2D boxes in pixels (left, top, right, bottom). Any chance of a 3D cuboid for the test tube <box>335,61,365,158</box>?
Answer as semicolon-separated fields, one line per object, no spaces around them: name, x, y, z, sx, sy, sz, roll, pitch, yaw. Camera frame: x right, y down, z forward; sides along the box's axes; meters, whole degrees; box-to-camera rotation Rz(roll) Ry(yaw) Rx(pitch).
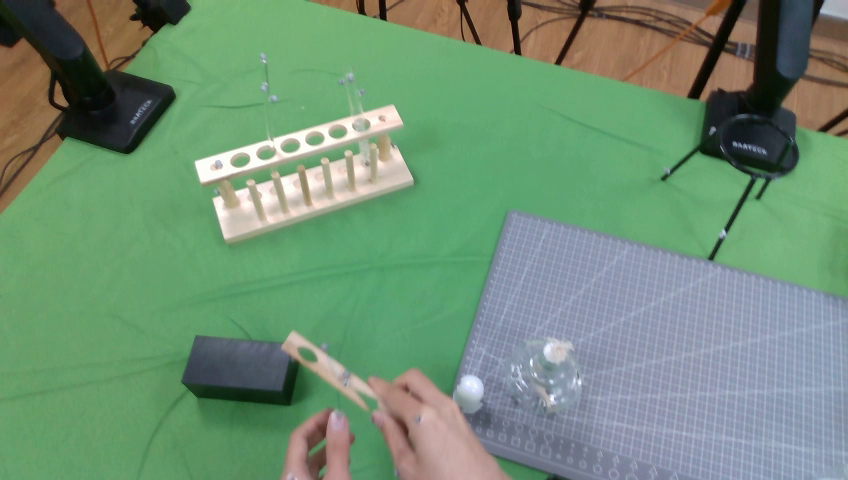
test tube;-0.085;-0.150;0.721;0.017;0.151;0.017;-2;57;3

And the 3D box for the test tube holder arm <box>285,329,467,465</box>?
test tube holder arm;-0.039;0.128;0.494;0.178;0.015;0.013;34;81;0

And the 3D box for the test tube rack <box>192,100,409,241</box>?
test tube rack;-0.143;-0.085;0.739;0.243;0.086;0.066;-20;62;-12

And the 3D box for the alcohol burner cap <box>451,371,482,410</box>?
alcohol burner cap;0.045;0.153;0.624;0.034;0.048;0.033;0;59;1

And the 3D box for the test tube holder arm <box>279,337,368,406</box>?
test tube holder arm;-0.079;0.107;0.494;0.088;0.015;0.010;34;81;0

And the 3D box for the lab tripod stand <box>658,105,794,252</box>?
lab tripod stand;0.361;-0.078;0.717;0.148;0.132;0.147;1;61;-2

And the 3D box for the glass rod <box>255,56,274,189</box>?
glass rod;-0.177;-0.122;0.683;0.008;0.201;0.008;4;52;-5

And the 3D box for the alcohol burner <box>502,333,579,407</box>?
alcohol burner;0.119;0.123;0.602;0.078;0.120;0.077;2;59;-2

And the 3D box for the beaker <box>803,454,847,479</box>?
beaker;0.401;0.231;0.552;0.083;0.101;0.073;21;61;12
